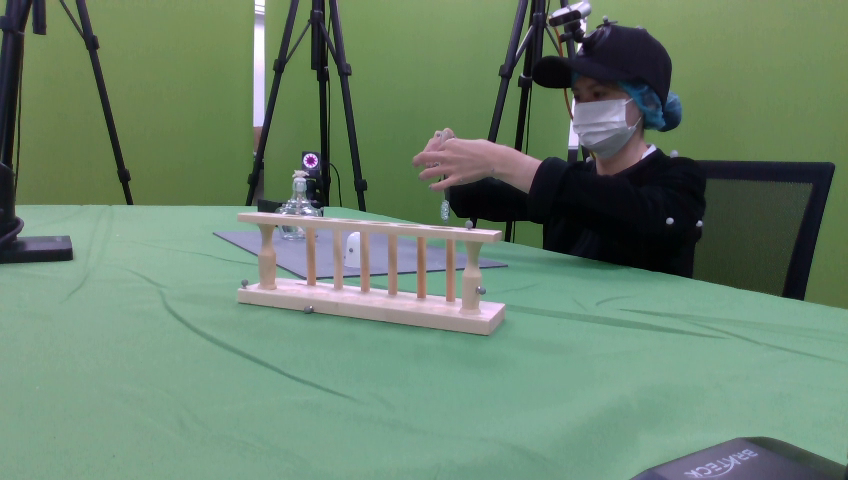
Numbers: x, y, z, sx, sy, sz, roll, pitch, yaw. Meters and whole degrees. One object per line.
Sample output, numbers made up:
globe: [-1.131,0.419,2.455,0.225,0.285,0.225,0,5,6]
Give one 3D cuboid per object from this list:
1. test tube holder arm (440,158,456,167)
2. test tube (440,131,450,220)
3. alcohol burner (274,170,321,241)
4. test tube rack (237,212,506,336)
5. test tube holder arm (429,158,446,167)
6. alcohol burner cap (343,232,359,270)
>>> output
test tube holder arm: [0.036,-0.134,1.041,0.010,0.015,0.087,-1,6,-18]
test tube: [0.036,-0.109,1.022,0.017,0.150,0.017,-1,4,0]
alcohol burner: [-0.212,-0.058,1.015,0.078,0.119,0.078,4,5,0]
test tube rack: [-0.049,0.024,0.552,0.242,0.085,0.067,5,8,18]
test tube holder arm: [0.022,-0.138,1.084,0.013,0.015,0.178,1,6,-7]
alcohol burner cap: [-0.087,0.013,0.776,0.034,0.048,0.034,3,7,0]
